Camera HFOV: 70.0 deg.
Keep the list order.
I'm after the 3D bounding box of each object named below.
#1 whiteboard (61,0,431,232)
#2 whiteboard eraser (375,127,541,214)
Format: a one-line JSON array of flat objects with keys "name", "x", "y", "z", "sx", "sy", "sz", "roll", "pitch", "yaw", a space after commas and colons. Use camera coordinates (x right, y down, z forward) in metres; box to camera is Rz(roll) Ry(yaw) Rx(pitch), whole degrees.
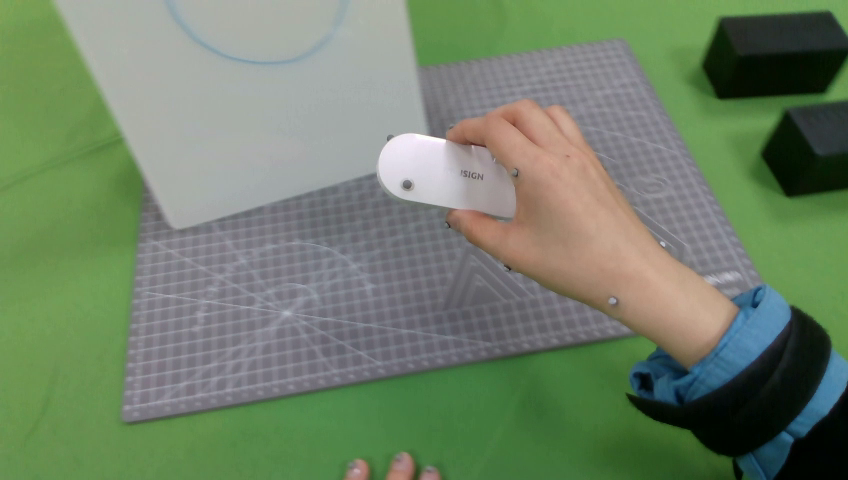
[{"name": "whiteboard", "x": -0.133, "y": -0.195, "z": 0.447, "sx": 0.217, "sy": 0.308, "sz": 0.142, "roll": -17, "pitch": 38, "yaw": -9}, {"name": "whiteboard eraser", "x": 0.021, "y": -0.041, "z": 0.366, "sx": 0.101, "sy": 0.019, "sz": 0.041, "roll": 9, "pitch": 85, "yaw": -9}]
